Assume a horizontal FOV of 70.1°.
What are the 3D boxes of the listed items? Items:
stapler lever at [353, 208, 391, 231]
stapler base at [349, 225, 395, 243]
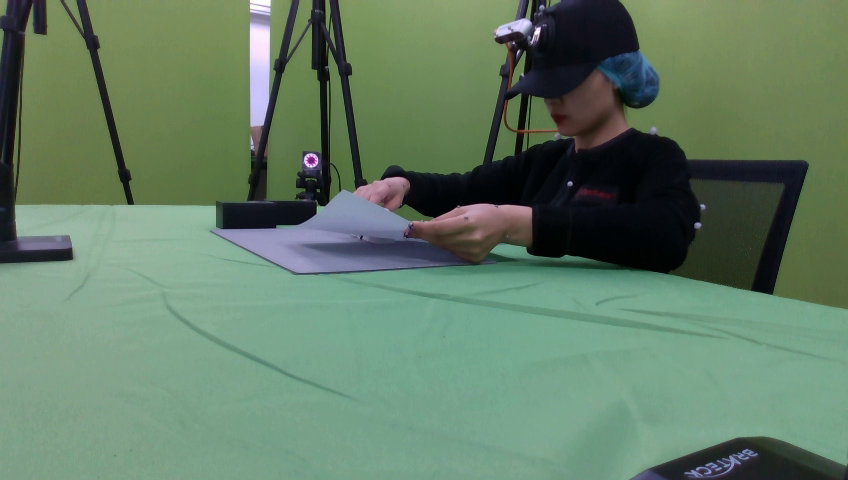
[{"bbox_3d":[-0.092,-0.039,1.058,0.027,0.040,0.117,0,6,-28],"label":"stapler lever"},{"bbox_3d":[-0.092,-0.014,1.060,0.041,0.024,0.130,0,6,-28],"label":"stapler base"}]
